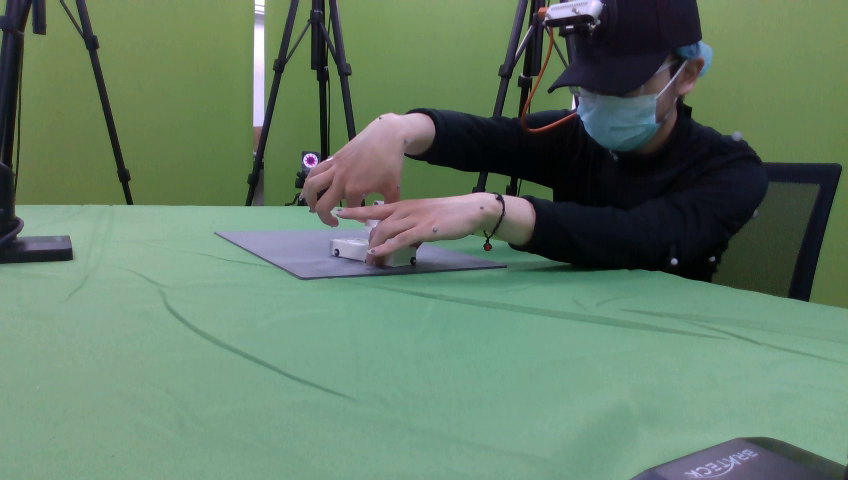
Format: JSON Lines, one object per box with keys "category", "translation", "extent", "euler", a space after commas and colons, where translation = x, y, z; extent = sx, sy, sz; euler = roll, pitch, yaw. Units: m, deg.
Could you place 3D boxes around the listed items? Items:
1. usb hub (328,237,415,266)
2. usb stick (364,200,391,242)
{"category": "usb hub", "translation": [-0.074, 0.015, 0.834], "extent": [0.124, 0.025, 0.050], "euler": [7, 8, 39]}
{"category": "usb stick", "translation": [-0.067, -0.024, 0.849], "extent": [0.021, 0.059, 0.027], "euler": [8, -22, 23]}
